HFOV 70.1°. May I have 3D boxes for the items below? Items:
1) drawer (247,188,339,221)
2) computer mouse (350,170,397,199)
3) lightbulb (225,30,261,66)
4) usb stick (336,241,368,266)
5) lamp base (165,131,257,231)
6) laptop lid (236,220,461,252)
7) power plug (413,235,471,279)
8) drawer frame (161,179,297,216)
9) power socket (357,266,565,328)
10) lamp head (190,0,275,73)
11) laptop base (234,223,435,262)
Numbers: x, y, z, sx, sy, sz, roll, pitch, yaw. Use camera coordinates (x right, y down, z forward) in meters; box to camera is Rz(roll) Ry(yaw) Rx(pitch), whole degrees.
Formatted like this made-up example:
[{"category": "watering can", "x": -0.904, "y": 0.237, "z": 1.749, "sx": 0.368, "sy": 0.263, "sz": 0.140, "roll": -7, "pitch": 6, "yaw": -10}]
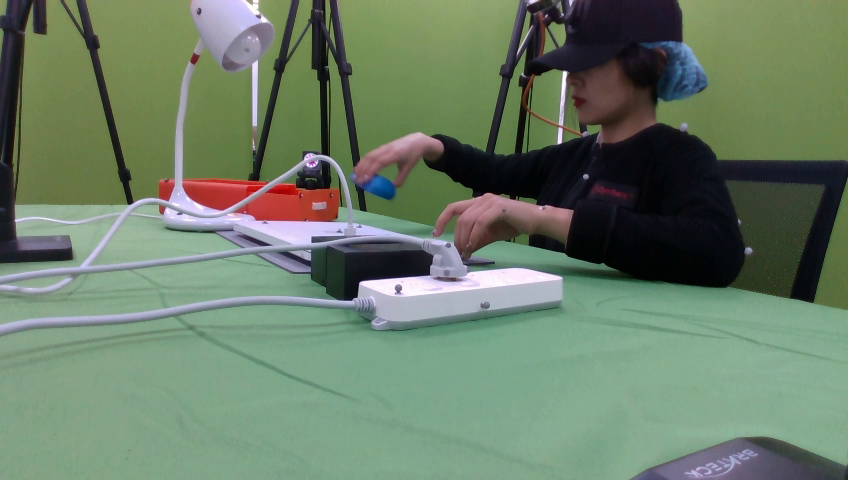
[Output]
[{"category": "drawer", "x": -0.315, "y": -0.079, "z": 1.301, "sx": 0.211, "sy": 0.073, "sz": 0.195, "roll": 4, "pitch": 8, "yaw": 15}, {"category": "computer mouse", "x": -0.103, "y": -0.118, "z": 1.233, "sx": 0.063, "sy": 0.041, "sz": 0.116, "roll": 18, "pitch": 4, "yaw": -33}, {"category": "lightbulb", "x": -0.317, "y": -0.336, "z": 1.001, "sx": 0.107, "sy": 0.059, "sz": 0.059, "roll": 47, "pitch": 16, "yaw": 5}, {"category": "usb stick", "x": -0.093, "y": 0.016, "z": 0.748, "sx": 0.021, "sy": 0.027, "sz": 0.059, "roll": -4, "pitch": 5, "yaw": -36}, {"category": "lamp base", "x": -0.407, "y": -0.112, "z": 1.119, "sx": 0.179, "sy": 0.180, "sz": 0.161, "roll": -1, "pitch": 7, "yaw": 7}, {"category": "laptop lid", "x": -0.133, "y": -0.010, "z": 0.949, "sx": 0.243, "sy": 0.013, "sz": 0.355, "roll": 0, "pitch": 7, "yaw": -32}, {"category": "power plug", "x": 0.017, "y": 0.023, "z": 0.588, "sx": 0.035, "sy": 0.052, "sz": 0.072, "roll": -1, "pitch": 8, "yaw": -23}, {"category": "drawer frame", "x": -0.421, "y": -0.089, "z": 1.329, "sx": 0.213, "sy": 0.082, "sz": 0.202, "roll": 4, "pitch": 8, "yaw": 16}, {"category": "power socket", "x": 0.041, "y": 0.049, "z": 0.572, "sx": 0.228, "sy": 0.032, "sz": 0.072, "roll": -3, "pitch": 8, "yaw": -35}, {"category": "lamp head", "x": -0.331, "y": -0.355, "z": 1.008, "sx": 0.123, "sy": 0.112, "sz": 0.112, "roll": 43, "pitch": 15, "yaw": 6}, {"category": "laptop base", "x": -0.135, "y": 0.002, "z": 0.949, "sx": 0.237, "sy": 0.023, "sz": 0.352, "roll": 2, "pitch": 6, "yaw": -33}]
